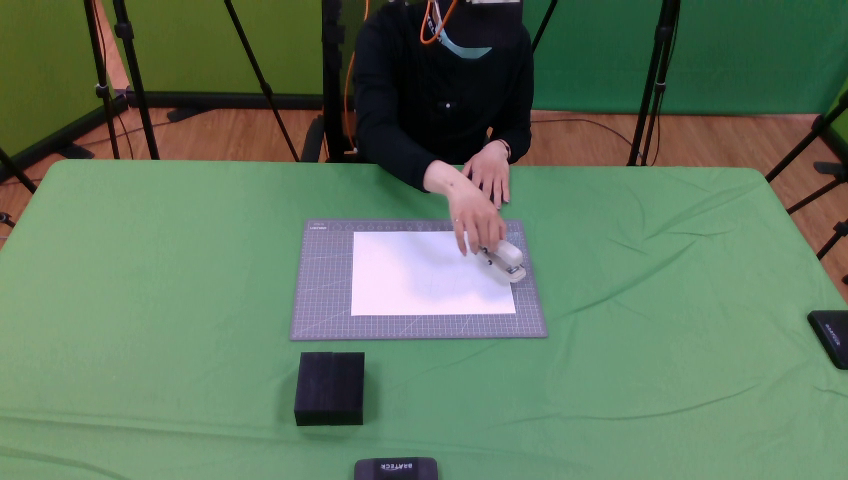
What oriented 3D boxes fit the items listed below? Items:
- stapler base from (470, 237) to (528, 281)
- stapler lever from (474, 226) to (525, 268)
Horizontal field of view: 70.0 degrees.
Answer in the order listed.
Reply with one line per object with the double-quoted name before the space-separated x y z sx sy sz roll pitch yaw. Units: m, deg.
"stapler base" 0.142 0.025 1.142 0.041 0.024 0.130 -30 53 -26
"stapler lever" 0.141 0.007 1.124 0.027 0.040 0.117 -30 53 -25
